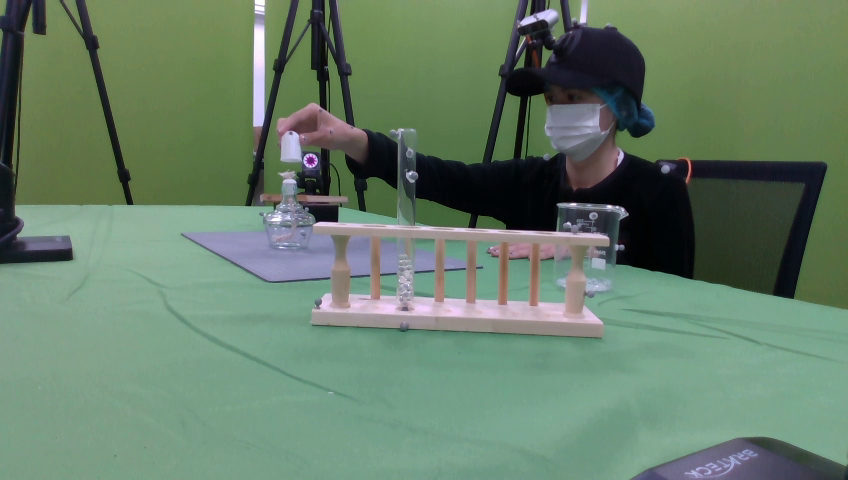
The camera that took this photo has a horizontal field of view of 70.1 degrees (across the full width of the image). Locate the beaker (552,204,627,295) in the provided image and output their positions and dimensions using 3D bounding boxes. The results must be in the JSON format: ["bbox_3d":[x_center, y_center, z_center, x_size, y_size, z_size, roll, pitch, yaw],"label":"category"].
[{"bbox_3d":[0.191,0.010,0.708,0.083,0.100,0.074,8,9,33],"label":"beaker"}]

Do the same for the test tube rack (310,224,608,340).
[{"bbox_3d":[0.028,0.032,0.528,0.242,0.085,0.067,3,7,0],"label":"test tube rack"}]

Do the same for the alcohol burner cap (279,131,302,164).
[{"bbox_3d":[-0.201,-0.139,0.906,0.034,0.048,0.034,-2,-5,0],"label":"alcohol burner cap"}]

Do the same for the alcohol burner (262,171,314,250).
[{"bbox_3d":[-0.205,-0.045,0.913,0.078,0.119,0.078,1,9,0],"label":"alcohol burner"}]

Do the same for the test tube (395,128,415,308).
[{"bbox_3d":[-0.016,-0.016,0.502,0.017,0.150,0.017,1,10,0],"label":"test tube"}]

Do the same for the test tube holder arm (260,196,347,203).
[{"bbox_3d":[-0.239,-0.082,1.213,0.179,0.015,0.013,-1,0,-32],"label":"test tube holder arm"}]

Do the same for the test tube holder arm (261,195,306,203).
[{"bbox_3d":[-0.275,-0.081,1.185,0.088,0.015,0.010,-1,0,-32],"label":"test tube holder arm"}]
